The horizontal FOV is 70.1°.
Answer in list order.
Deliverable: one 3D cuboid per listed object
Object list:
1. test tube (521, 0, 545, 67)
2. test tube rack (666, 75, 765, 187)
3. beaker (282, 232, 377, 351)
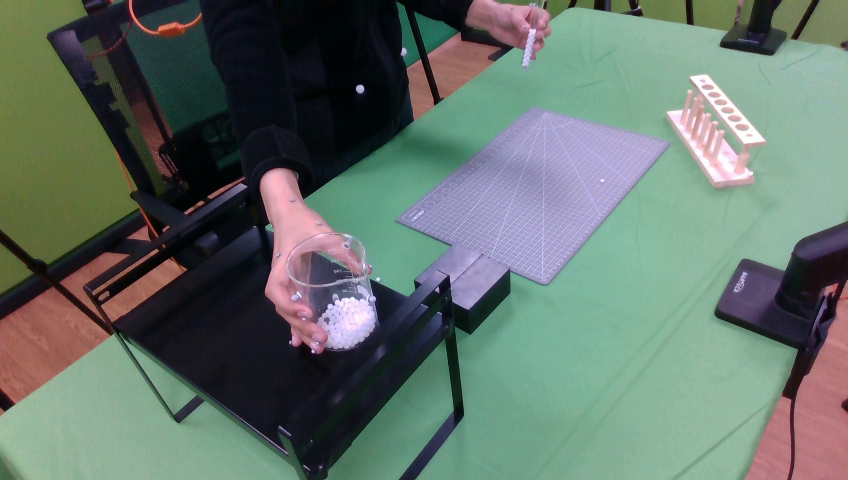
[{"bbox_3d":[0.183,-0.354,1.005,0.017,0.150,0.017,3,49,-3],"label":"test tube"},{"bbox_3d":[0.512,-0.201,1.082,0.067,0.085,0.241,-6,41,2],"label":"test tube rack"},{"bbox_3d":[-0.085,0.054,0.588,0.083,0.101,0.074,18,48,26],"label":"beaker"}]
